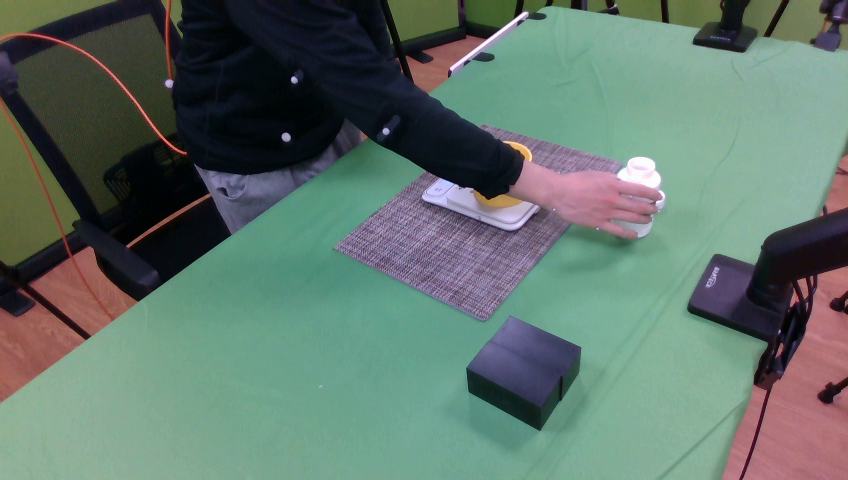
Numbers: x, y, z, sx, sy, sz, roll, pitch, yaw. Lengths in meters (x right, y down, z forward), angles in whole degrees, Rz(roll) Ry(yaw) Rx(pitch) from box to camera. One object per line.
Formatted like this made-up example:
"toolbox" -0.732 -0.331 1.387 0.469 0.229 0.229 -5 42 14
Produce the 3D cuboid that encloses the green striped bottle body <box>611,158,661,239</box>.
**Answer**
"green striped bottle body" 0.324 -0.065 0.923 0.063 0.120 0.063 -4 41 4

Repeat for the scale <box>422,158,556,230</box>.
"scale" 0.110 -0.089 1.042 0.199 0.032 0.149 23 48 31

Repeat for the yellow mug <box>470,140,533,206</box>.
"yellow mug" 0.125 -0.121 1.004 0.100 0.064 0.130 -13 40 -5

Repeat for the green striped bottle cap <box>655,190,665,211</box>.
"green striped bottle cap" 0.375 -0.066 0.998 0.044 0.020 0.044 -8 37 7
